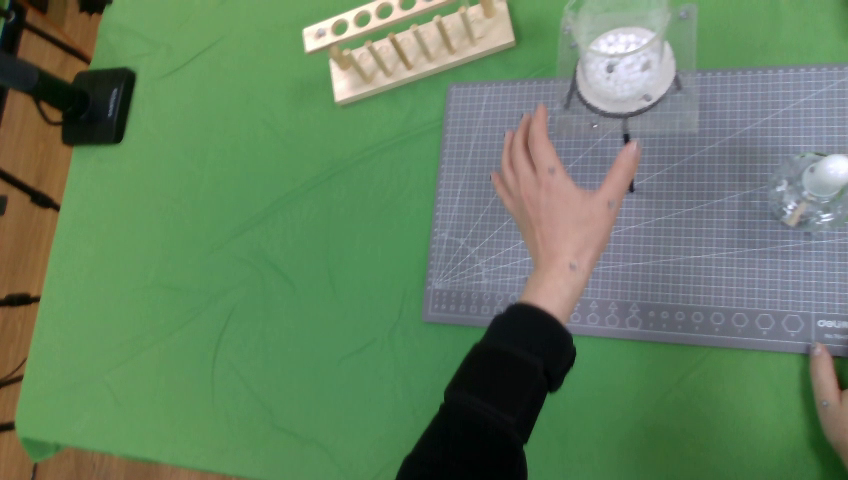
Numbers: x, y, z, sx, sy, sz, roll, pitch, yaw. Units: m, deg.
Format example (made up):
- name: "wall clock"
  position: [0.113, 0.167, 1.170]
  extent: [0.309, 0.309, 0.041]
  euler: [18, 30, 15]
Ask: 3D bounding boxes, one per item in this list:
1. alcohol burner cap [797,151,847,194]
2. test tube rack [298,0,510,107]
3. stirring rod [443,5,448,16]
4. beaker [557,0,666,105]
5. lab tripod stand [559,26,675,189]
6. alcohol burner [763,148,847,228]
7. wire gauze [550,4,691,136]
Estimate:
- name: "alcohol burner cap"
  position: [0.347, -0.060, 0.522]
  extent: [0.034, 0.048, 0.033]
  euler: [-2, 80, 15]
- name: "test tube rack"
  position: [-0.025, -0.247, 0.748]
  extent: [0.242, 0.086, 0.066]
  euler: [-15, 73, 15]
- name: "stirring rod"
  position: [0.008, -0.311, 0.667]
  extent: [0.006, 0.177, 0.014]
  euler: [-14, 68, 9]
- name: "beaker"
  position: [0.159, -0.166, 0.515]
  extent: [0.083, 0.101, 0.074]
  euler: [16, 84, 22]
- name: "lab tripod stand"
  position: [0.200, -0.140, 0.619]
  extent: [0.148, 0.132, 0.147]
  euler: [-3, 78, 17]
- name: "alcohol burner"
  position: [0.358, -0.052, 0.556]
  extent: [0.077, 0.120, 0.077]
  euler: [-4, 77, 17]
- name: "wire gauze"
  position: [0.179, -0.154, 0.558]
  extent: [0.124, 0.011, 0.121]
  euler: [2, 82, 17]
